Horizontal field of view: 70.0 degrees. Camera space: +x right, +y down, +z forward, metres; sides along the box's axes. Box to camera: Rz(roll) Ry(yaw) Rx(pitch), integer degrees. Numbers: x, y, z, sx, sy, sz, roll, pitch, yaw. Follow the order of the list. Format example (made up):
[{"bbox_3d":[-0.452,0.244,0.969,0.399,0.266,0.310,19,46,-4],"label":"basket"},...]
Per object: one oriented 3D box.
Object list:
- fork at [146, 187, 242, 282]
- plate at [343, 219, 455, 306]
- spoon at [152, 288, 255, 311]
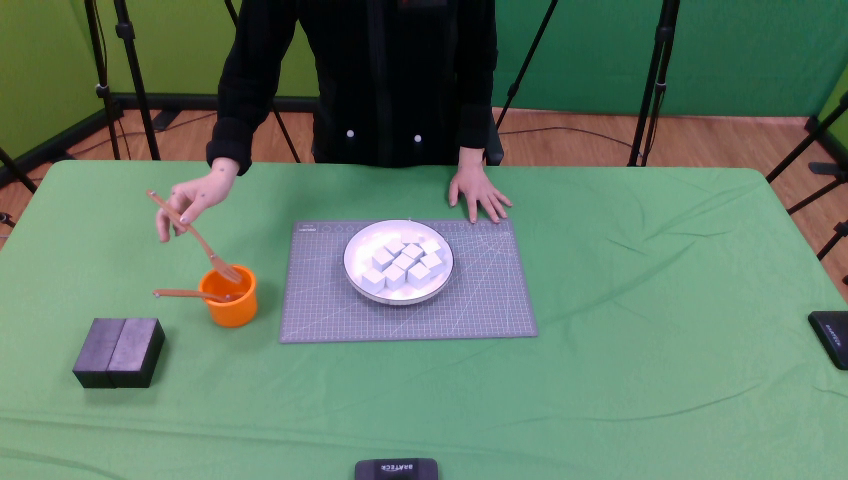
[{"bbox_3d":[-0.370,-0.006,0.982,0.018,0.208,0.028,-24,28,23],"label":"fork"},{"bbox_3d":[-0.047,0.045,1.136,0.208,0.039,0.206,2,46,-2],"label":"plate"},{"bbox_3d":[-0.356,0.092,0.992,0.021,0.195,0.041,-46,59,13],"label":"spoon"}]
